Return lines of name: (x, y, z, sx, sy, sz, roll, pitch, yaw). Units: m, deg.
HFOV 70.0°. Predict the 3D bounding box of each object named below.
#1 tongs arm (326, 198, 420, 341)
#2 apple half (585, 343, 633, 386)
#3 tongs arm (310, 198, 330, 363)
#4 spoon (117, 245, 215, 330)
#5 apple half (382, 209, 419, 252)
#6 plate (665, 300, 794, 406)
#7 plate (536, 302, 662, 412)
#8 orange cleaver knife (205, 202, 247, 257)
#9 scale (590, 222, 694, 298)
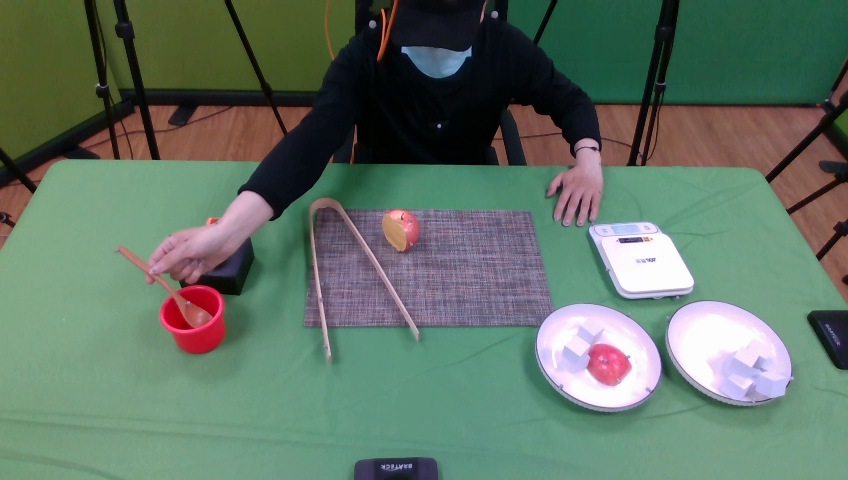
tongs arm: (-0.101, 0.042, 1.139, 0.028, 0.028, 0.385, -22, 51, -17)
apple half: (0.309, 0.198, 1.008, 0.081, 0.033, 0.081, 4, 48, -4)
tongs arm: (-0.179, 0.058, 1.117, 0.051, 0.026, 0.382, -9, 46, -11)
spoon: (-0.410, 0.075, 0.968, 0.021, 0.194, 0.041, -26, 24, 30)
apple half: (-0.039, -0.022, 1.175, 0.053, 0.075, 0.080, -27, 49, -31)
plate: (0.513, 0.194, 1.034, 0.208, 0.039, 0.206, 2, 46, -2)
plate: (0.288, 0.197, 1.016, 0.209, 0.038, 0.208, 2, 46, -2)
orange cleaver knife: (-0.374, -0.024, 1.151, 0.012, 0.077, 0.210, 4, 16, 1)
scale: (0.424, 0.031, 1.189, 0.149, 0.032, 0.199, -3, 46, -7)
